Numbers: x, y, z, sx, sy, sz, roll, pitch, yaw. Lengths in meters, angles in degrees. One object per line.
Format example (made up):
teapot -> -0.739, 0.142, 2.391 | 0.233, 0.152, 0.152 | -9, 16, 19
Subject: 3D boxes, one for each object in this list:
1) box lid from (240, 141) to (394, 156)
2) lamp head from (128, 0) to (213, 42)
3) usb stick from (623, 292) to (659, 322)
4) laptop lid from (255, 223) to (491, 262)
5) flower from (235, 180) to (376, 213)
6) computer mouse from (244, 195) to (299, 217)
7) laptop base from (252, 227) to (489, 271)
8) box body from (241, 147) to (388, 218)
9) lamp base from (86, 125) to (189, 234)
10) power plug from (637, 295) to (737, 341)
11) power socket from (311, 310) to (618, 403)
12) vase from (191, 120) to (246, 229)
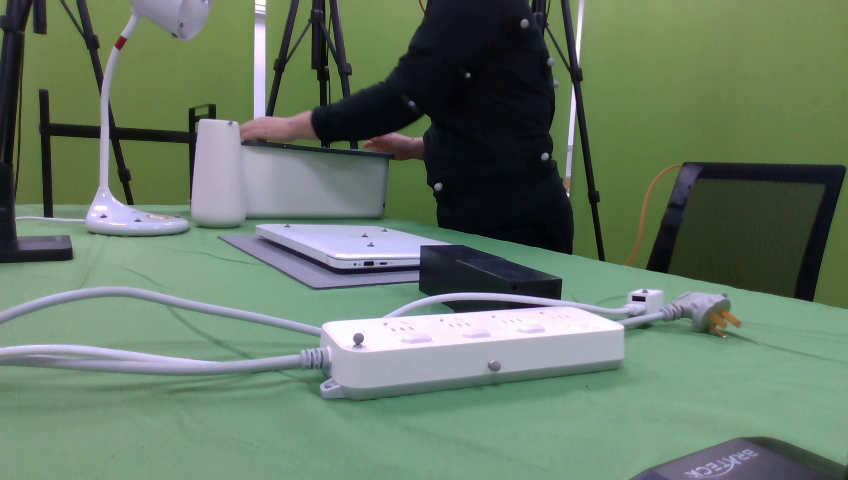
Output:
box lid -> -0.284, -0.219, 1.458 | 0.373, 0.015, 0.262 | -1, 8, -29
lamp head -> -0.423, -0.394, 0.980 | 0.123, 0.112, 0.112 | 20, 7, -3
usb stick -> 0.211, 0.064, 0.581 | 0.021, 0.027, 0.059 | -2, -3, 36
laptop lid -> -0.093, 0.000, 0.911 | 0.243, 0.013, 0.355 | 1, 7, -30
flower -> -0.264, -0.092, 1.416 | 0.364, 0.038, 0.044 | 8, -41, -38
computer mouse -> -0.346, -0.077, 1.372 | 0.118, 0.041, 0.062 | -11, 18, -33
laptop base -> -0.096, 0.012, 0.911 | 0.237, 0.023, 0.352 | 2, 7, -32
box body -> -0.297, -0.143, 1.474 | 0.366, 0.160, 0.253 | -1, 9, -30
lamp base -> -0.497, -0.105, 1.027 | 0.179, 0.180, 0.160 | 1, 7, 2
power plug -> 0.235, 0.078, 0.536 | 0.072, 0.035, 0.052 | -34, 40, -5
power socket -> 0.034, 0.074, 0.416 | 0.228, 0.032, 0.072 | -1, 7, -24
vase -> -0.389, -0.123, 1.143 | 0.098, 0.200, 0.098 | 2, 9, 0
